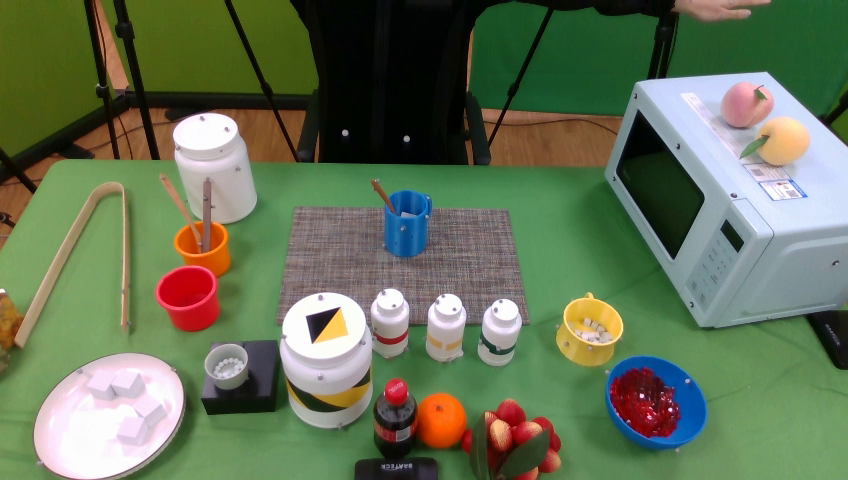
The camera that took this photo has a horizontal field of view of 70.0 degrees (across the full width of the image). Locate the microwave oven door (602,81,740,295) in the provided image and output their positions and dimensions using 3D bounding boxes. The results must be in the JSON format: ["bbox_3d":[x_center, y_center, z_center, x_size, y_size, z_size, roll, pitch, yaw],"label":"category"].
[{"bbox_3d":[0.456,-0.107,1.162,0.039,0.245,0.353,-7,47,-11],"label":"microwave oven door"}]

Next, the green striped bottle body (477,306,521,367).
[{"bbox_3d":[0.124,0.151,0.995,0.063,0.120,0.063,2,46,-2],"label":"green striped bottle body"}]

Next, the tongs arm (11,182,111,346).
[{"bbox_3d":[-0.658,0.027,1.109,0.028,0.028,0.385,-2,45,2],"label":"tongs arm"}]

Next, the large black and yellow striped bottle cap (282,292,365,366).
[{"bbox_3d":[-0.139,0.121,0.841,0.115,0.019,0.114,3,47,-3],"label":"large black and yellow striped bottle cap"}]

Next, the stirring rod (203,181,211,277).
[{"bbox_3d":[-0.396,-0.021,1.107,0.014,0.006,0.176,-1,89,-1],"label":"stirring rod"}]

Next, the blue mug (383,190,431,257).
[{"bbox_3d":[-0.026,-0.039,1.172,0.082,0.106,0.116,34,53,25],"label":"blue mug"}]

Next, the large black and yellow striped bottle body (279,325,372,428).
[{"bbox_3d":[-0.143,0.181,0.900,0.131,0.185,0.130,2,46,-2],"label":"large black and yellow striped bottle body"}]

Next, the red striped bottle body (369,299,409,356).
[{"bbox_3d":[-0.058,0.134,0.997,0.063,0.120,0.062,4,47,-4],"label":"red striped bottle body"}]

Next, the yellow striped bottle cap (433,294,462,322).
[{"bbox_3d":[0.037,0.107,0.958,0.044,0.019,0.044,2,45,-2],"label":"yellow striped bottle cap"}]

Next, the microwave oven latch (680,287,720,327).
[{"bbox_3d":[0.494,0.119,1.089,0.030,0.029,0.078,-7,46,-10],"label":"microwave oven latch"}]

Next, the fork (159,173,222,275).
[{"bbox_3d":[-0.427,-0.029,1.103,0.028,0.018,0.207,-31,99,-30],"label":"fork"}]

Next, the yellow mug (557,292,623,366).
[{"bbox_3d":[0.285,0.145,1.051,0.100,0.064,0.130,7,45,4],"label":"yellow mug"}]

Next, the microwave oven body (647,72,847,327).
[{"bbox_3d":[0.608,-0.089,1.164,0.326,0.261,0.438,-7,46,-10],"label":"microwave oven body"}]

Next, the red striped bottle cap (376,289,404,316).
[{"bbox_3d":[-0.055,0.098,0.958,0.044,0.018,0.044,0,48,1],"label":"red striped bottle cap"}]

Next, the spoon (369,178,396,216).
[{"bbox_3d":[-0.065,-0.057,1.106,0.041,0.195,0.021,17,64,26],"label":"spoon"}]

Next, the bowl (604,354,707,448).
[{"bbox_3d":[0.346,0.261,0.937,0.151,0.077,0.150,2,46,-2],"label":"bowl"}]

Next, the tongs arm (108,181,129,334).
[{"bbox_3d":[-0.572,0.019,1.123,0.051,0.026,0.382,-11,47,-11],"label":"tongs arm"}]

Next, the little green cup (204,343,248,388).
[{"bbox_3d":[-0.294,0.190,0.909,0.061,0.039,0.061,1,48,-1],"label":"little green cup"}]

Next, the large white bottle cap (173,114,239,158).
[{"bbox_3d":[-0.403,-0.195,1.122,0.115,0.018,0.114,2,47,-2],"label":"large white bottle cap"}]

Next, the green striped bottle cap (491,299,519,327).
[{"bbox_3d":[0.128,0.115,0.958,0.044,0.020,0.044,1,47,-1],"label":"green striped bottle cap"}]

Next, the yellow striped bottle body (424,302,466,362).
[{"bbox_3d":[0.035,0.143,0.995,0.063,0.121,0.062,3,46,-2],"label":"yellow striped bottle body"}]

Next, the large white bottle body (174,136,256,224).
[{"bbox_3d":[-0.408,-0.136,1.183,0.131,0.185,0.130,2,46,-2],"label":"large white bottle body"}]

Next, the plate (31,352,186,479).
[{"bbox_3d":[-0.459,0.262,0.898,0.209,0.038,0.208,2,46,-2],"label":"plate"}]
